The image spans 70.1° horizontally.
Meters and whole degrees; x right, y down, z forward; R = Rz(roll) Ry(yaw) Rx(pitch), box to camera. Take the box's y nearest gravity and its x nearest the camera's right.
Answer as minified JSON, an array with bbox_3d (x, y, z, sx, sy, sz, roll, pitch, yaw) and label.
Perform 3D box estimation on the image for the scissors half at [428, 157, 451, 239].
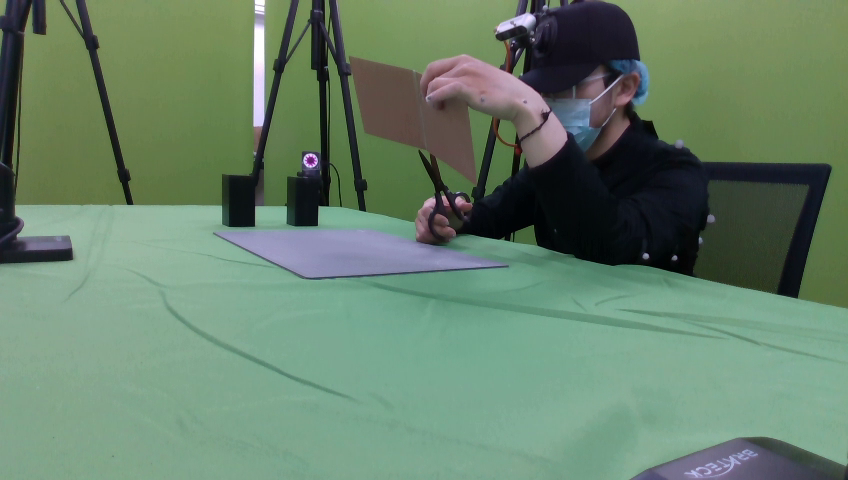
[{"bbox_3d":[0.019,-0.080,1.000,0.040,0.175,0.012,-23,28,-30],"label":"scissors half"}]

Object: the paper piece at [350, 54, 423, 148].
[{"bbox_3d":[-0.057,-0.216,0.944,0.135,0.135,0.004,21,45,33],"label":"paper piece"}]

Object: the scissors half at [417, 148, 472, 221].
[{"bbox_3d":[0.036,-0.094,1.009,0.013,0.040,0.176,19,-21,47],"label":"scissors half"}]

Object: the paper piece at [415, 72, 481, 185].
[{"bbox_3d":[0.034,-0.160,0.863,0.009,0.136,0.137,-31,44,-26],"label":"paper piece"}]
